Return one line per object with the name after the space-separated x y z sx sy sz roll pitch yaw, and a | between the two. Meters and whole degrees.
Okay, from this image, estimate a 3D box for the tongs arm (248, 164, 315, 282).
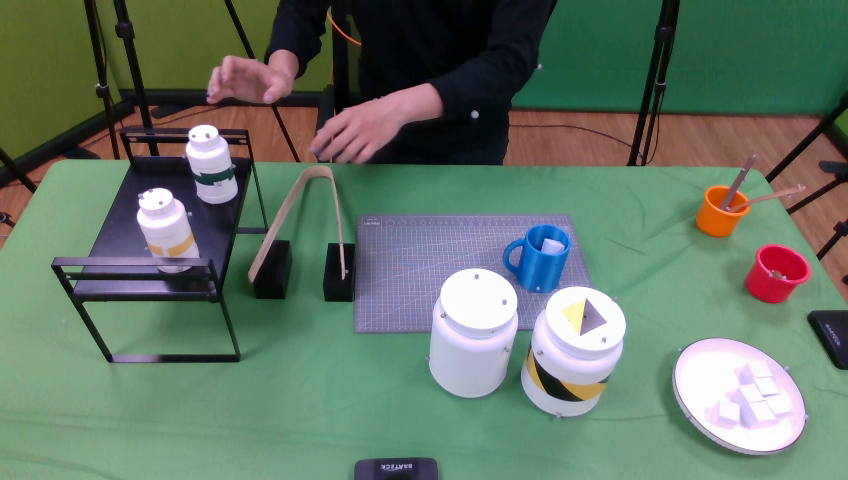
-0.270 -0.047 1.165 0.028 0.028 0.385 -1 34 7 | tongs arm

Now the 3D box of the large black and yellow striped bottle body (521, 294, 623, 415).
0.228 0.173 0.938 0.131 0.185 0.130 2 47 -2 | large black and yellow striped bottle body

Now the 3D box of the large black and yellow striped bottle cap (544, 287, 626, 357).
0.232 0.116 0.876 0.115 0.019 0.114 2 45 -1 | large black and yellow striped bottle cap

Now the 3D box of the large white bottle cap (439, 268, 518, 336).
0.080 0.089 0.888 0.115 0.018 0.114 2 47 -2 | large white bottle cap

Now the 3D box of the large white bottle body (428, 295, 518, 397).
0.075 0.147 0.950 0.131 0.185 0.130 2 47 -2 | large white bottle body

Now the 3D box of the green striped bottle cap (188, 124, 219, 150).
-0.339 -0.158 0.931 0.044 0.020 0.044 3 47 -3 | green striped bottle cap

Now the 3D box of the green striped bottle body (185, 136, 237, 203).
-0.341 -0.121 0.969 0.063 0.120 0.063 2 46 -2 | green striped bottle body

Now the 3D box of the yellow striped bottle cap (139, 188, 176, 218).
-0.363 -0.051 0.826 0.044 0.019 0.044 1 48 0 | yellow striped bottle cap

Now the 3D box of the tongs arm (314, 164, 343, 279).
-0.188 -0.049 1.170 0.051 0.026 0.382 -5 35 -6 | tongs arm

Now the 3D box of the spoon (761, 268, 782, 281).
0.638 0.060 1.105 0.041 0.021 0.194 38 11 24 | spoon

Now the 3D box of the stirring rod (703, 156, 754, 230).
0.631 -0.097 1.258 0.014 0.006 0.176 33 95 29 | stirring rod

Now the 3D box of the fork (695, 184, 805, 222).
0.657 -0.075 1.230 0.207 0.019 0.028 -23 34 37 | fork

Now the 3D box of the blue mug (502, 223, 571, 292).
0.203 0.031 1.121 0.116 0.106 0.082 5 47 1 | blue mug

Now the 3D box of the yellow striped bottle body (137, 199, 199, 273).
-0.366 -0.014 0.863 0.063 0.121 0.062 2 46 -2 | yellow striped bottle body

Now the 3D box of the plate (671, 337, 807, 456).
0.503 0.254 0.984 0.208 0.039 0.206 2 46 -2 | plate
